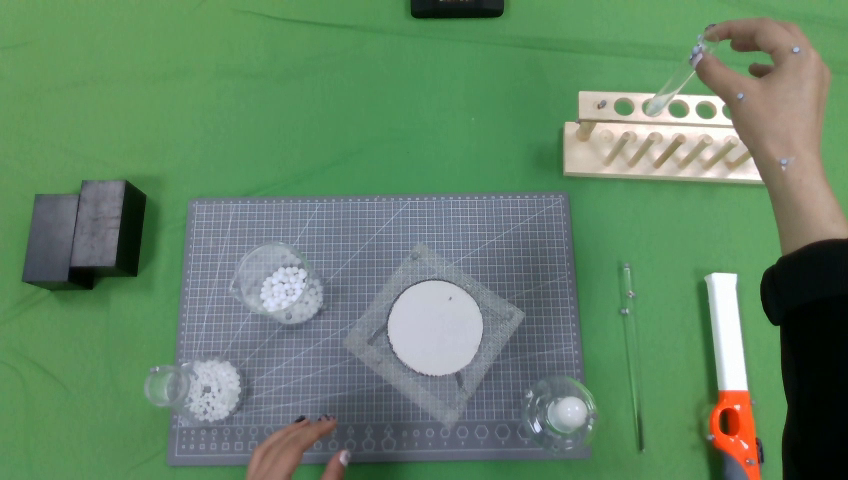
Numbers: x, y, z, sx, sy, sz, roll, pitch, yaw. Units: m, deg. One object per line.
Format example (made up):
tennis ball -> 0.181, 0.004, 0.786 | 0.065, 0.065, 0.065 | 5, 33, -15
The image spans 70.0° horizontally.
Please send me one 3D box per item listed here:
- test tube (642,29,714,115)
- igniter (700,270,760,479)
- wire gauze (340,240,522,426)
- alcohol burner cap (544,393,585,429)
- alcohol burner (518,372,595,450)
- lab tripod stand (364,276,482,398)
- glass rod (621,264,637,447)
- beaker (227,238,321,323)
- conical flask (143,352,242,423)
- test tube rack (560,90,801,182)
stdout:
test tube -> 0.227, -0.148, 0.553 | 0.017, 0.151, 0.017 | 0, 80, 3
igniter -> 0.325, 0.168, 0.648 | 0.057, 0.025, 0.275 | 4, 75, -9
wire gauze -> 0.007, 0.080, 0.546 | 0.124, 0.011, 0.121 | 35, 79, 9
alcohol burner cap -> 0.133, 0.158, 0.567 | 0.034, 0.048, 0.033 | 1, 69, -3
alcohol burner -> 0.133, 0.169, 0.602 | 0.078, 0.120, 0.077 | -1, 74, 3
lab tripod stand -> 0.005, 0.095, 0.612 | 0.148, 0.132, 0.147 | 0, 76, 2
glass rod -> 0.227, 0.125, 0.670 | 0.008, 0.008, 0.199 | 1, 78, 0
beaker -> -0.154, 0.049, 0.642 | 0.084, 0.101, 0.073 | -17, 75, -3
conical flask -> -0.235, 0.145, 0.606 | 0.075, 0.122, 0.075 | 0, 75, 1
test tube rack -> 0.286, -0.117, 0.693 | 0.242, 0.085, 0.066 | 2, 75, 1
